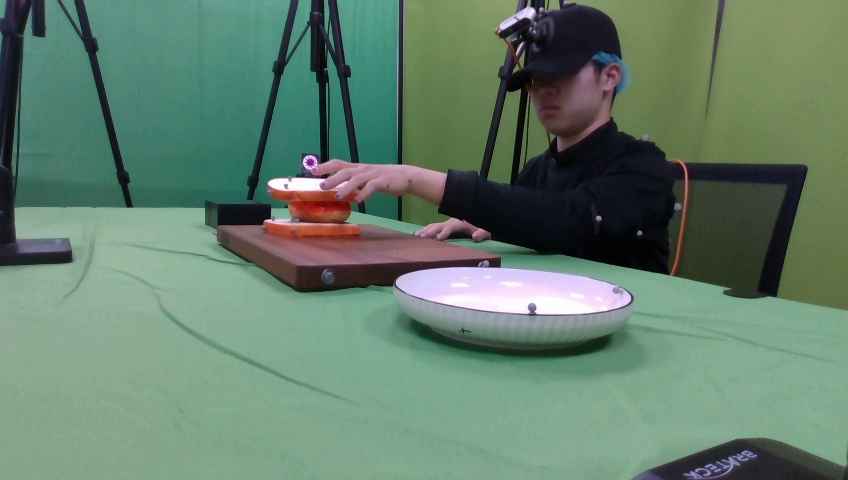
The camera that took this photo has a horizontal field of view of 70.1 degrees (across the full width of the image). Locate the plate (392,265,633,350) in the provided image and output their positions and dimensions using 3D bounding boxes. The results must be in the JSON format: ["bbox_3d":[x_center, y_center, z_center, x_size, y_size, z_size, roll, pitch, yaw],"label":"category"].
[{"bbox_3d":[0.075,0.057,0.533,0.209,0.038,0.209,3,7,0],"label":"plate"}]

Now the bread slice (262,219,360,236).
[{"bbox_3d":[-0.179,-0.021,0.931,0.132,0.019,0.104,-2,7,-35],"label":"bread slice"}]

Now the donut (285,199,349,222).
[{"bbox_3d":[-0.165,-0.051,0.938,0.099,0.048,0.099,4,7,0],"label":"donut"}]

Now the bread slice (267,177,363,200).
[{"bbox_3d":[-0.170,-0.079,0.923,0.135,0.018,0.106,-3,17,-26],"label":"bread slice"}]
